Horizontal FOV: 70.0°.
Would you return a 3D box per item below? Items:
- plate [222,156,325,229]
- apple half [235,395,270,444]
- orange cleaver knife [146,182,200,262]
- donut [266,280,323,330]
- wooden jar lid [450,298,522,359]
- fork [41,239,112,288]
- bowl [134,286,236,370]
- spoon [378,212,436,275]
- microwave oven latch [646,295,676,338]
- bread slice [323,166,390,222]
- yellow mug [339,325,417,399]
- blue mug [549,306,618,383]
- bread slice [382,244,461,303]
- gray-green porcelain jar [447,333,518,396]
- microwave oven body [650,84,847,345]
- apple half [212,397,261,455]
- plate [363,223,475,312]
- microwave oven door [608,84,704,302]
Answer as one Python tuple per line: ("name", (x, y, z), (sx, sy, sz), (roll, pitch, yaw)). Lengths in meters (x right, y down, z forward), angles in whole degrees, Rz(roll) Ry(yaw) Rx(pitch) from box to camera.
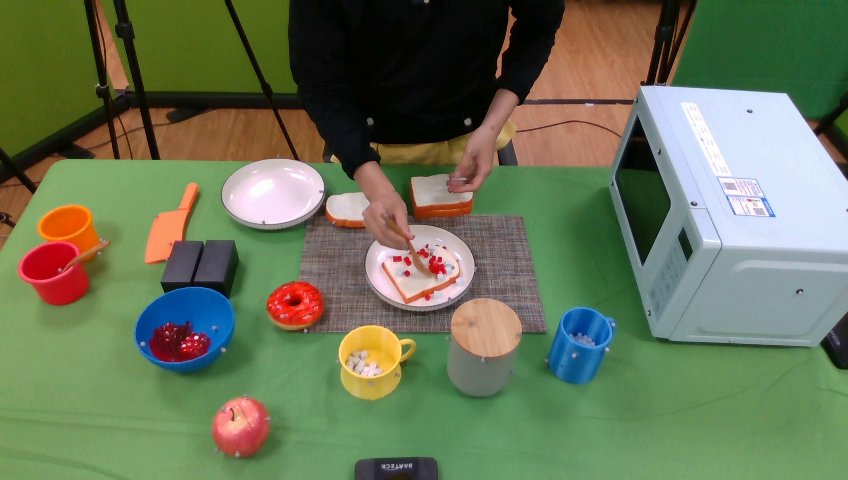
("plate", (-0.308, -0.094, 1.251), (0.209, 0.038, 0.208), (2, 47, -2))
("apple half", (-0.245, 0.260, 0.893), (0.033, 0.082, 0.081), (-29, 55, -22))
("orange cleaver knife", (-0.494, -0.039, 1.198), (0.077, 0.012, 0.210), (-4, 48, 2))
("donut", (-0.223, 0.113, 1.051), (0.099, 0.048, 0.098), (2, 45, -2))
("wooden jar lid", (0.093, 0.135, 0.914), (0.108, 0.021, 0.107), (2, 48, -3))
("fork", (-0.591, 0.040, 1.028), (0.207, 0.019, 0.028), (-27, 36, 29))
("bowl", (-0.377, 0.156, 0.981), (0.151, 0.077, 0.150), (2, 46, -2))
("spoon", (-0.029, 0.008, 1.039), (0.021, 0.195, 0.041), (-47, 46, -12))
("microwave oven latch", (0.413, 0.133, 1.060), (0.030, 0.029, 0.078), (4, 46, 1))
("bread slice", (-0.140, -0.091, 1.224), (0.134, 0.018, 0.106), (-19, 50, 6))
("yellow mug", (-0.072, 0.190, 0.978), (0.131, 0.064, 0.099), (-17, 50, -20))
("blue mug", (0.269, 0.167, 0.997), (0.116, 0.106, 0.082), (-19, 51, -21))
("bread slice", (0.000, 0.054, 1.129), (0.131, 0.019, 0.104), (-21, 52, -21))
("gray-green porcelain jar", (0.091, 0.178, 0.960), (0.106, 0.127, 0.105), (2, 47, -2))
("microwave oven body", (0.569, -0.054, 1.116), (0.326, 0.261, 0.439), (2, 46, -1))
("apple half", (-0.276, 0.276, 0.877), (0.053, 0.075, 0.080), (-29, 58, -21))
("plate", (-0.009, 0.054, 1.126), (0.208, 0.039, 0.206), (2, 46, -2))
("microwave oven door", (0.424, -0.096, 1.138), (0.039, 0.245, 0.353), (2, 47, -1))
